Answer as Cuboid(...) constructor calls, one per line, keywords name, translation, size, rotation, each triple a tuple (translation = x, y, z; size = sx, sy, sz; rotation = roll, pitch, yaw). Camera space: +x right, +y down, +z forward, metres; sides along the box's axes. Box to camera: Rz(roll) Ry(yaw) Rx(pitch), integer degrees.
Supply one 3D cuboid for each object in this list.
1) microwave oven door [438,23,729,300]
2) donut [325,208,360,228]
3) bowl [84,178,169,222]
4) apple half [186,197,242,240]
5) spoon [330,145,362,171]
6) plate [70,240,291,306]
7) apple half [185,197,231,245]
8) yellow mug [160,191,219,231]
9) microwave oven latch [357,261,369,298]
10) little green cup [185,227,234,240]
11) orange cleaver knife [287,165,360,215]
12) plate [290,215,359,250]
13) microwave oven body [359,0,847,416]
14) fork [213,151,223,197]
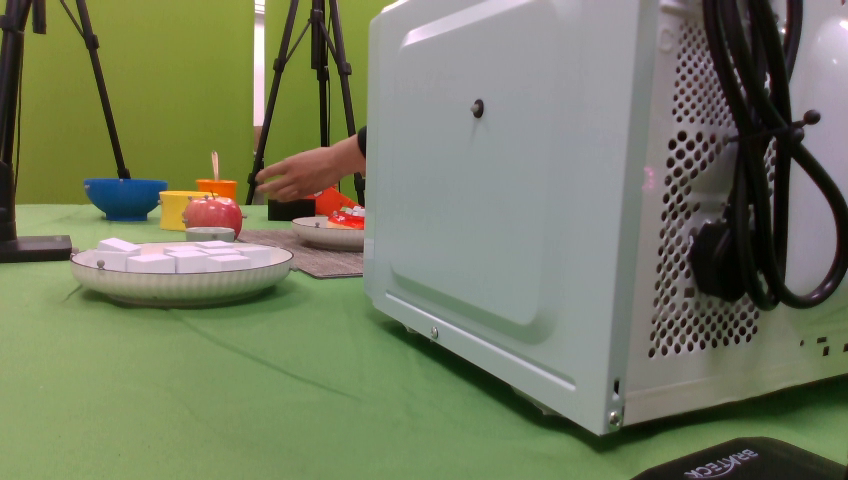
Cuboid(name="microwave oven door", translation=(0.181, -0.072, 0.620), size=(0.358, 0.243, 0.039), rotation=(-2, 8, -29))
Cuboid(name="donut", translation=(-0.110, -0.025, 0.974), size=(0.099, 0.048, 0.099), rotation=(5, 8, 0))
Cuboid(name="bowl", translation=(-0.584, -0.078, 1.194), size=(0.151, 0.077, 0.151), rotation=(3, 8, 0))
Cuboid(name="apple half", translation=(-0.307, -0.026, 0.904), size=(0.053, 0.074, 0.081), rotation=(14, 9, 37))
Cuboid(name="spoon", translation=(-0.171, -0.193, 1.403), size=(0.041, 0.021, 0.194), rotation=(-1, 26, 14))
Cuboid(name="plate", translation=(-0.242, 0.032, 0.618), size=(0.208, 0.039, 0.207), rotation=(3, 8, 0))
Cuboid(name="apple half", translation=(-0.337, -0.031, 0.927), size=(0.032, 0.081, 0.082), rotation=(13, 13, 37))
Cuboid(name="yellow mug", translation=(-0.416, -0.053, 1.103), size=(0.130, 0.064, 0.100), rotation=(7, 8, 27))
Cuboid(name="microwave oven latch", translation=(-0.019, 0.033, 0.530), size=(0.079, 0.029, 0.030), rotation=(-1, 7, -26))
Cuboid(name="little green cup", translation=(-0.285, 0.005, 0.805), size=(0.061, 0.038, 0.061), rotation=(3, 8, 0))
Cuboid(name="orange cleaver knife", translation=(-0.211, -0.092, 1.382), size=(0.212, 0.077, 0.012), rotation=(33, 1, -15))
Cuboid(name="plate", translation=(-0.110, -0.014, 0.973), size=(0.209, 0.038, 0.209), rotation=(3, 8, 0))
Cuboid(name="microwave oven body", translation=(0.211, -0.047, 0.474), size=(0.444, 0.260, 0.324), rotation=(-1, 7, -28))
Cuboid(name="fork", translation=(-0.494, -0.143, 1.442), size=(0.028, 0.018, 0.206), rotation=(-2, 52, -20))
